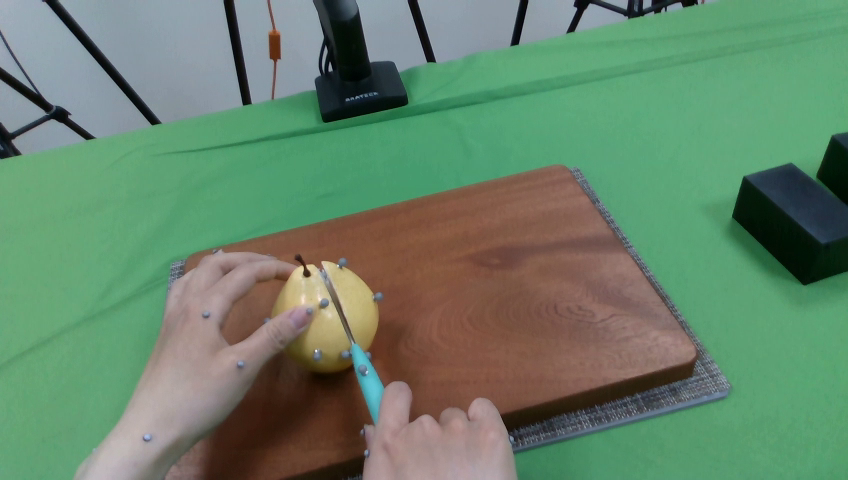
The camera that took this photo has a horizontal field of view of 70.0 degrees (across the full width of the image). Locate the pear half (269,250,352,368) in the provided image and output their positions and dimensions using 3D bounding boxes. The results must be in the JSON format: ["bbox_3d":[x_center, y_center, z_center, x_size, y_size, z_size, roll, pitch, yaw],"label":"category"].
[{"bbox_3d":[-0.092,0.051,0.455,0.056,0.111,0.075,-27,41,-13],"label":"pear half"}]

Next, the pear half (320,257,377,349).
[{"bbox_3d":[-0.055,0.045,0.472,0.031,0.089,0.069,-23,38,-18],"label":"pear half"}]

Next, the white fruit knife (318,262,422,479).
[{"bbox_3d":[-0.048,0.085,0.445,0.016,0.028,0.205,-25,48,-10],"label":"white fruit knife"}]
